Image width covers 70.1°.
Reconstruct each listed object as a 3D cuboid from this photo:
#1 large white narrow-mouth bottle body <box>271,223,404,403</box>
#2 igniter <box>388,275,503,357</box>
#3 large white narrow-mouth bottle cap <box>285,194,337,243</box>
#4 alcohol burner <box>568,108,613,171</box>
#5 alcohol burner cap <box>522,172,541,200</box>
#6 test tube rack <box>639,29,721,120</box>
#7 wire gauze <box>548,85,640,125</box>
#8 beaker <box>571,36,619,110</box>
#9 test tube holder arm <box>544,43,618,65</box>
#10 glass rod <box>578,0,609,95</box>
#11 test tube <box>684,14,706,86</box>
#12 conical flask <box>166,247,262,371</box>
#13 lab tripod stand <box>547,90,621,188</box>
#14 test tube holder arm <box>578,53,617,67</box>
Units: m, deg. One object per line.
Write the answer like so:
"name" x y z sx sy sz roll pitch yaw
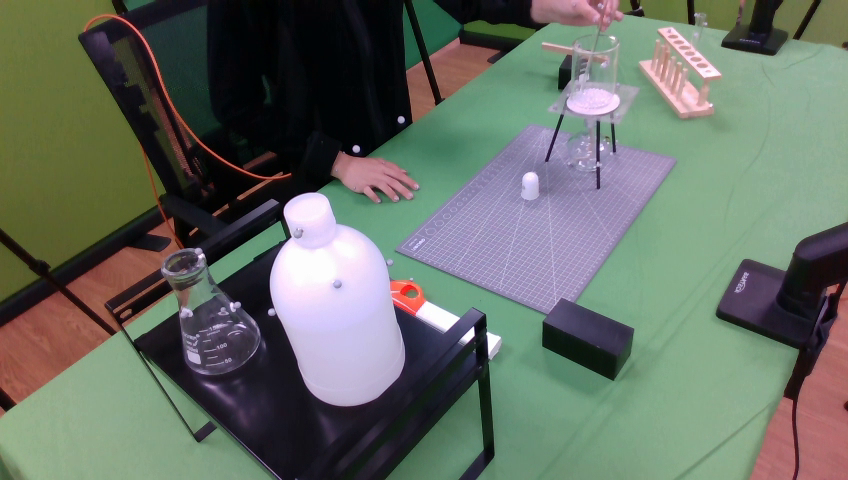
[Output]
"large white narrow-mouth bottle body" -0.077 0.048 0.525 0.102 0.195 0.101 -5 40 4
"igniter" -0.008 0.093 0.870 0.274 0.025 0.057 24 60 33
"large white narrow-mouth bottle cap" -0.087 -0.017 0.468 0.038 0.024 0.037 -4 40 4
"alcohol burner" 0.296 -0.182 1.074 0.078 0.119 0.077 -5 43 5
"alcohol burner cap" 0.186 -0.096 1.047 0.034 0.048 0.033 -5 39 4
"test tube rack" 0.527 -0.351 1.262 0.067 0.085 0.241 -8 40 1
"wire gauze" 0.286 -0.233 1.020 0.124 0.011 0.122 15 43 30
"beaker" 0.280 -0.273 0.992 0.084 0.101 0.073 -24 42 -16
"test tube holder arm" 0.345 -0.413 1.341 0.177 0.015 0.013 25 49 32
"glass rod" 0.271 -0.317 0.957 0.008 0.200 0.008 3 46 -2
"test tube" 0.541 -0.378 1.216 0.017 0.151 0.017 -2 44 3
"conical flask" -0.208 0.064 0.585 0.075 0.122 0.075 -5 40 4
"lab tripod stand" 0.289 -0.184 1.062 0.148 0.132 0.147 -6 41 6
"test tube holder arm" 0.376 -0.394 1.314 0.087 0.015 0.010 26 49 32
